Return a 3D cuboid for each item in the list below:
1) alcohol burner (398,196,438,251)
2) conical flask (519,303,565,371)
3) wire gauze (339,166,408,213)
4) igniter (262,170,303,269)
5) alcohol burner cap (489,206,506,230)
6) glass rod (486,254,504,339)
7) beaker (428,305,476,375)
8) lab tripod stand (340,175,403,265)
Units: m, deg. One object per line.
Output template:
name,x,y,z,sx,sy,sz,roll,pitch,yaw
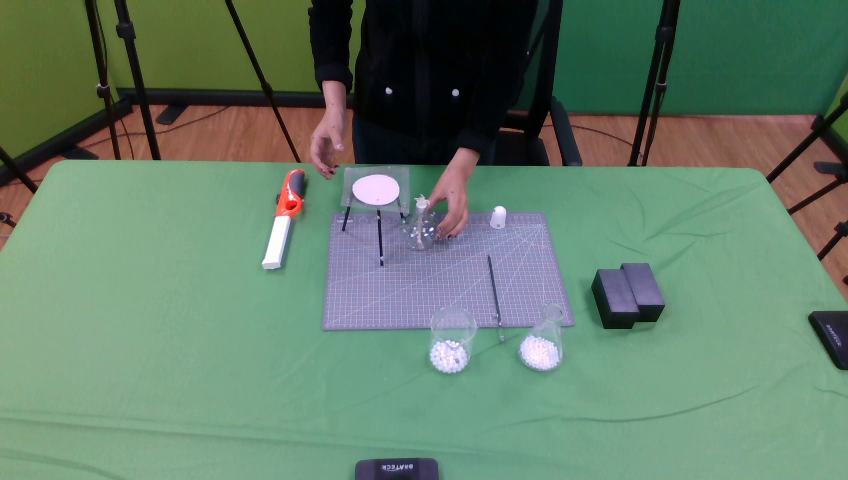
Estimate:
alcohol burner,-0.011,-0.037,1.167,0.078,0.119,0.077,3,44,-3
conical flask,0.201,0.155,0.997,0.075,0.122,0.075,2,46,-2
wire gauze,-0.091,-0.096,1.110,0.125,0.011,0.120,2,45,-3
igniter,-0.283,-0.050,1.222,0.057,0.025,0.275,-5,45,6
alcohol burner cap,0.152,-0.047,1.241,0.034,0.048,0.033,2,45,-2
glass rod,0.130,0.099,1.119,0.008,0.008,0.198,-1,46,-4
beaker,0.044,0.169,0.987,0.074,0.101,0.083,1,47,-3
lab tripod stand,-0.094,-0.050,1.160,0.148,0.132,0.147,2,44,-2
